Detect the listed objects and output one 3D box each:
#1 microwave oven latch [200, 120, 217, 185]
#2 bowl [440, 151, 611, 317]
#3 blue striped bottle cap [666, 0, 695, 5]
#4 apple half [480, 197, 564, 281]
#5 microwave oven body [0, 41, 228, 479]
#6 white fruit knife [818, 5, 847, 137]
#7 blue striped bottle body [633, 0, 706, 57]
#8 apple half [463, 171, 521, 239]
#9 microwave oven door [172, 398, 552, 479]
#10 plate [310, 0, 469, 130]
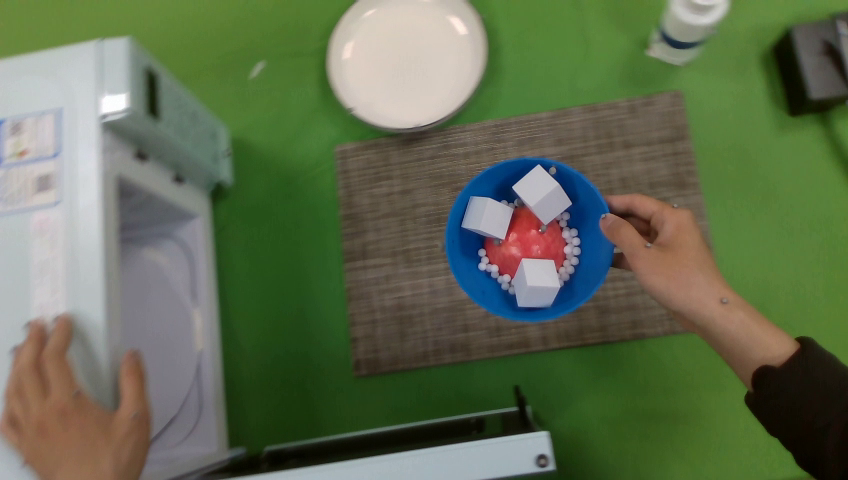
[{"bbox_3d":[-0.284,-0.112,0.780,0.030,0.029,0.079,-4,80,4],"label":"microwave oven latch"},{"bbox_3d":[0.094,0.000,0.571,0.151,0.077,0.151,-1,80,7],"label":"bowl"},{"bbox_3d":[0.290,-0.286,0.676,0.044,0.021,0.044,-1,82,6],"label":"blue striped bottle cap"},{"bbox_3d":[0.095,-0.002,0.568,0.081,0.033,0.081,-1,83,7],"label":"apple half"},{"bbox_3d":[-0.406,0.069,0.662,0.326,0.261,0.439,-11,80,3],"label":"microwave oven body"},{"bbox_3d":[0.488,-0.172,0.705,0.016,0.027,0.207,-18,95,20],"label":"white fruit knife"},{"bbox_3d":[0.296,-0.276,0.726,0.063,0.121,0.063,-1,79,6],"label":"blue striped bottle body"},{"bbox_3d":[0.075,-0.034,0.727,0.053,0.075,0.080,-30,82,5],"label":"apple half"},{"bbox_3d":[-0.061,0.212,0.598,0.356,0.245,0.039,-11,78,4],"label":"microwave oven door"},{"bbox_3d":[-0.044,-0.239,0.797,0.207,0.039,0.207,-1,80,5],"label":"plate"}]
